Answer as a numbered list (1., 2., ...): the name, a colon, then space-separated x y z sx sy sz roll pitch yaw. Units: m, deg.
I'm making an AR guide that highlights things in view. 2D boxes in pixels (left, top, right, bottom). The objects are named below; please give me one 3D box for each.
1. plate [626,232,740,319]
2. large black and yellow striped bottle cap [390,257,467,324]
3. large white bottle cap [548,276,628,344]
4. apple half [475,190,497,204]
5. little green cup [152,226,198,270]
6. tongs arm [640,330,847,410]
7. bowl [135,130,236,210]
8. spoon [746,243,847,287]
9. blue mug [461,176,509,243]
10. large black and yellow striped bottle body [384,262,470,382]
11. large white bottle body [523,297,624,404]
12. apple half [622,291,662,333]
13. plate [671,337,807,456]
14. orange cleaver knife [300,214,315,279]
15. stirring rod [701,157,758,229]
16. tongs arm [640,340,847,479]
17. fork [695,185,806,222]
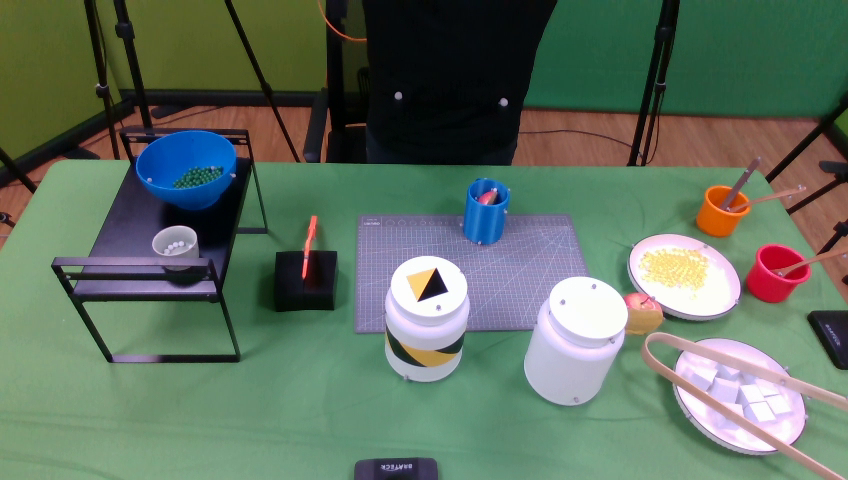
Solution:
1. plate: 0.488 0.071 1.157 0.209 0.038 0.208 3 46 -3
2. large black and yellow striped bottle cap: 0.007 0.072 0.899 0.115 0.019 0.114 2 47 -2
3. large white bottle cap: 0.240 0.100 0.890 0.115 0.018 0.114 3 47 -3
4. apple half: 0.111 -0.067 1.200 0.032 0.081 0.081 31 51 14
5. little green cup: -0.364 0.013 0.894 0.061 0.039 0.061 3 46 -3
6. tongs arm: 0.543 0.225 0.969 0.384 0.026 0.050 22 52 13
7. bowl: -0.375 -0.102 0.978 0.151 0.077 0.150 2 46 -2
8. spoon: 0.702 0.044 1.126 0.194 0.022 0.041 -29 38 30
9. blue mug: 0.116 -0.070 1.211 0.082 0.106 0.115 -8 47 -12
10. large black and yellow striped bottle body: 0.002 0.127 0.962 0.131 0.185 0.130 2 48 -2
11. large white bottle body: 0.235 0.159 0.952 0.131 0.185 0.130 2 47 -2
12. apple half: 0.372 0.124 1.073 0.081 0.075 0.053 0 42 1
13. plate: 0.504 0.254 0.984 0.208 0.039 0.206 2 46 -2
14. orange cleaver knife: -0.218 0.007 1.131 0.012 0.077 0.210 8 19 -9
15. stirring rod: 0.634 -0.097 1.257 0.014 0.006 0.176 38 97 30
16. tongs arm: 0.500 0.277 0.919 0.386 0.028 0.028 34 59 22
17. fork: 0.658 -0.074 1.230 0.207 0.019 0.028 -23 36 37
